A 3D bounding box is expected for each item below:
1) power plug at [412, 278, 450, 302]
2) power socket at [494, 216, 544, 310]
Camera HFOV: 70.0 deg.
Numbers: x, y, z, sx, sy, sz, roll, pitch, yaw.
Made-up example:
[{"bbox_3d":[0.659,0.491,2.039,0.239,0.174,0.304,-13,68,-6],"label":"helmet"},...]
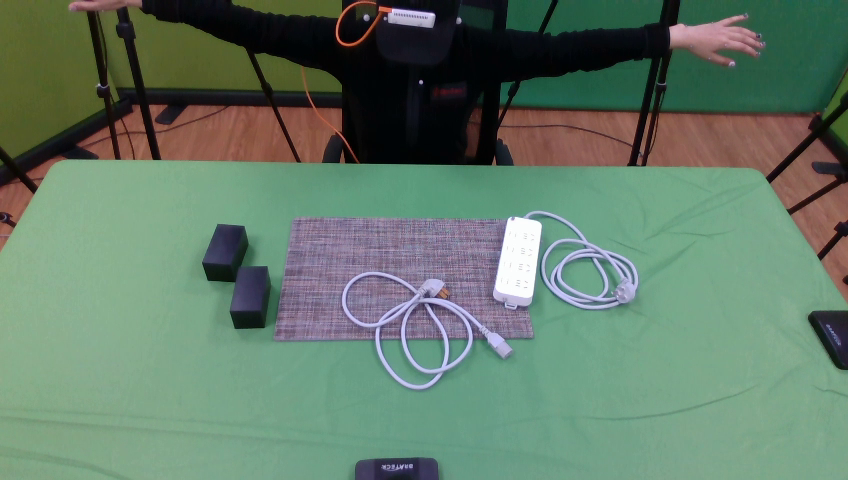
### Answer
[{"bbox_3d":[0.013,0.101,1.092,0.052,0.035,0.072,39,67,-1],"label":"power plug"},{"bbox_3d":[0.184,0.037,1.161,0.072,0.033,0.225,12,46,7],"label":"power socket"}]
